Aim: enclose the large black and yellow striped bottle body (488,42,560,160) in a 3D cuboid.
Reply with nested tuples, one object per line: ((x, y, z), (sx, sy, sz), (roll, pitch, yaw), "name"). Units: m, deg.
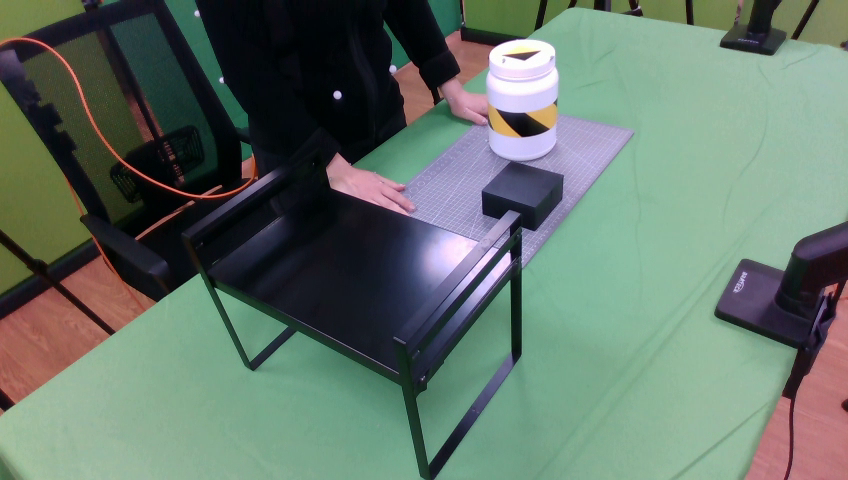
((0.184, -0.258, 1.119), (0.131, 0.185, 0.130), (-4, 40, 4), "large black and yellow striped bottle body")

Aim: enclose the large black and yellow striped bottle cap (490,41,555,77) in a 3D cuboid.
((0.173, -0.320, 1.065), (0.115, 0.019, 0.114), (-4, 39, 4), "large black and yellow striped bottle cap")
